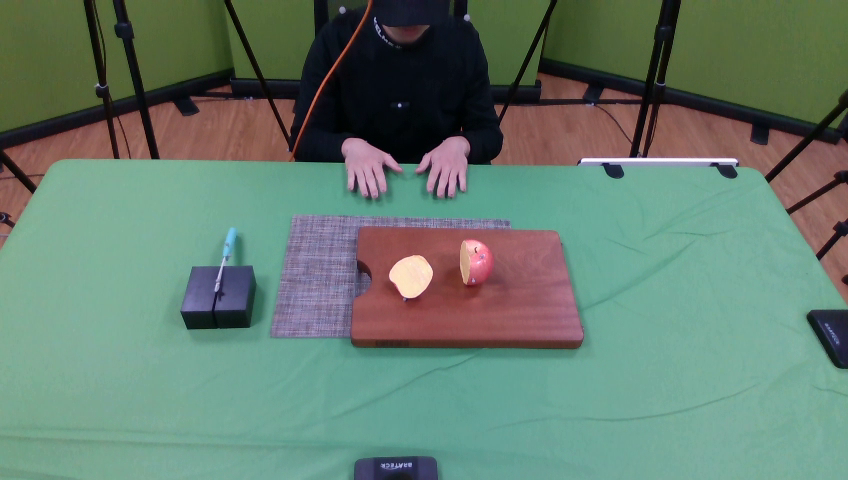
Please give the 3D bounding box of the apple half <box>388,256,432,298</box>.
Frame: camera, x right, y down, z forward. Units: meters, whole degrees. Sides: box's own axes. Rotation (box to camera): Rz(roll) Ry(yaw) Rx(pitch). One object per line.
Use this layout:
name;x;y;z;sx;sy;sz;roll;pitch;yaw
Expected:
apple half;-0.019;0.069;1.080;0.081;0.033;0.081;-6;62;12

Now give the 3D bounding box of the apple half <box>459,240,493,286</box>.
apple half;0.096;0.042;1.093;0.053;0.075;0.080;-1;42;-11

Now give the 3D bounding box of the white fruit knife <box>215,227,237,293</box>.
white fruit knife;-0.360;0.033;1.101;0.016;0.027;0.206;0;32;-9
